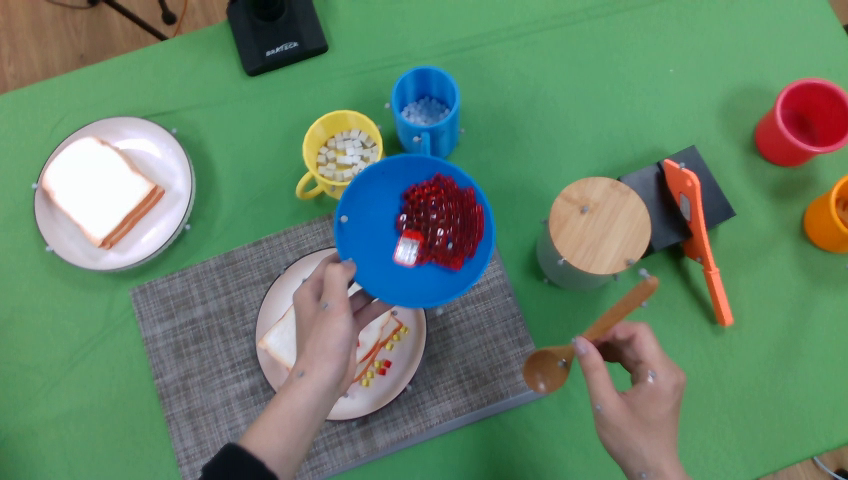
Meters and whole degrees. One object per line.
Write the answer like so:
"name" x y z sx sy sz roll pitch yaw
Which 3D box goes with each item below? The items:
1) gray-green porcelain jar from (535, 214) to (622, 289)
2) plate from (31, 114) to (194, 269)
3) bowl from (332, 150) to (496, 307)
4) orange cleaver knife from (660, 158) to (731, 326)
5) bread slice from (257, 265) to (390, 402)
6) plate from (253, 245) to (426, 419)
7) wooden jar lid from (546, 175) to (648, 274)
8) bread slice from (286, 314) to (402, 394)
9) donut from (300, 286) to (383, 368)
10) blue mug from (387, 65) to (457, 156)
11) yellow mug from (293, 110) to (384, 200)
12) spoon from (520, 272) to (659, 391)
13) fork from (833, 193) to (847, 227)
"gray-green porcelain jar" 0.188 0.000 0.711 0.106 0.127 0.105 0 76 2
"plate" -0.399 -0.061 0.790 0.207 0.039 0.206 0 77 2
"bowl" -0.012 -0.003 0.589 0.152 0.077 0.150 2 74 -7
"orange cleaver knife" 0.324 0.002 0.728 0.012 0.077 0.212 -22 103 -3
"bread slice" -0.105 0.095 0.679 0.107 0.018 0.134 33 73 2
"plate" -0.100 0.109 0.736 0.209 0.038 0.208 0 77 2
"wooden jar lid" 0.184 -0.016 0.650 0.108 0.021 0.108 0 78 -1
"bread slice" -0.105 0.122 0.736 0.104 0.019 0.131 36 78 11
"donut" -0.096 0.101 0.710 0.099 0.048 0.098 5 69 -13
"blue mug" 0.000 -0.141 0.761 0.082 0.106 0.116 0 77 2
"yellow mug" -0.114 -0.097 0.775 0.131 0.064 0.099 -41 78 -6
"spoon" 0.137 0.083 0.520 0.021 0.194 0.041 -30 73 -35
"fork" 0.487 -0.007 0.691 0.028 0.019 0.207 42 37 4
